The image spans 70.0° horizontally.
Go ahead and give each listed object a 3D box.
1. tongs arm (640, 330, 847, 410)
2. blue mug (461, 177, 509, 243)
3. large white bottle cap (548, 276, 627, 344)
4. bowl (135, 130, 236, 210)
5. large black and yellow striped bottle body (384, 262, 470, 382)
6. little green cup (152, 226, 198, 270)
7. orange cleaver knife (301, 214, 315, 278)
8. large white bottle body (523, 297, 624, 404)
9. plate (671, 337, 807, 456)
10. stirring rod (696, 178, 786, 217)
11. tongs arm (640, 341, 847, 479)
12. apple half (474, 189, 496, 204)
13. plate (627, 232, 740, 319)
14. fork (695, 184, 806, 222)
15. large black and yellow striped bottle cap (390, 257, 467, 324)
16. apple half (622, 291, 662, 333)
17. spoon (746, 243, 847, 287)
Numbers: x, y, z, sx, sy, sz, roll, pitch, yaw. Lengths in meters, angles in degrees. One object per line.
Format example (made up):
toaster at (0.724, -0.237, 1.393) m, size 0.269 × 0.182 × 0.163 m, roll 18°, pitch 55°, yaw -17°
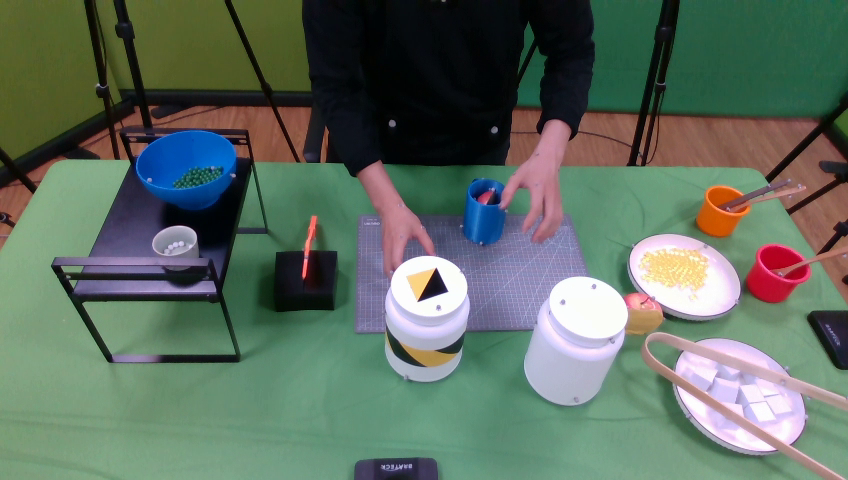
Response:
tongs arm at (0.543, 0.226, 0.969) m, size 0.384 × 0.026 × 0.050 m, roll 22°, pitch 52°, yaw 13°
blue mug at (0.114, -0.070, 1.211) m, size 0.082 × 0.106 × 0.115 m, roll -12°, pitch 48°, yaw -15°
large white bottle cap at (0.240, 0.100, 0.890) m, size 0.115 × 0.018 × 0.114 m, roll 3°, pitch 47°, yaw -3°
bowl at (-0.375, -0.102, 0.977) m, size 0.151 × 0.077 × 0.150 m, roll 2°, pitch 46°, yaw -2°
large black and yellow striped bottle body at (0.002, 0.127, 0.962) m, size 0.131 × 0.185 × 0.130 m, roll 2°, pitch 48°, yaw -2°
little green cup at (-0.364, 0.013, 0.894) m, size 0.061 × 0.039 × 0.061 m, roll 3°, pitch 46°, yaw -3°
orange cleaver knife at (-0.218, 0.007, 1.131) m, size 0.012 × 0.077 × 0.210 m, roll 7°, pitch 19°, yaw -9°
large white bottle body at (0.235, 0.159, 0.952) m, size 0.131 × 0.185 × 0.130 m, roll 2°, pitch 47°, yaw -2°
plate at (0.504, 0.254, 0.984) m, size 0.208 × 0.039 × 0.206 m, roll 2°, pitch 46°, yaw -2°
stirring rod at (0.648, -0.087, 1.244) m, size 0.176 × 0.006 × 0.014 m, roll -25°, pitch 50°, yaw 29°
tongs arm at (0.500, 0.277, 0.920) m, size 0.386 × 0.028 × 0.028 m, roll 34°, pitch 59°, yaw 22°
apple half at (0.109, -0.068, 1.195) m, size 0.033 × 0.081 × 0.081 m, roll 29°, pitch 50°, yaw 7°
plate at (0.489, 0.070, 1.156) m, size 0.209 × 0.038 × 0.208 m, roll 3°, pitch 46°, yaw -3°
fork at (0.658, -0.074, 1.230) m, size 0.207 × 0.019 × 0.028 m, roll -23°, pitch 34°, yaw 36°
large black and yellow striped bottle cap at (0.007, 0.072, 0.898) m, size 0.115 × 0.019 × 0.114 m, roll 2°, pitch 47°, yaw -2°
apple half at (0.372, 0.123, 1.074) m, size 0.081 × 0.075 × 0.053 m, roll 0°, pitch 43°, yaw 1°
spoon at (0.702, 0.044, 1.126) m, size 0.194 × 0.022 × 0.041 m, roll -29°, pitch 38°, yaw 30°
